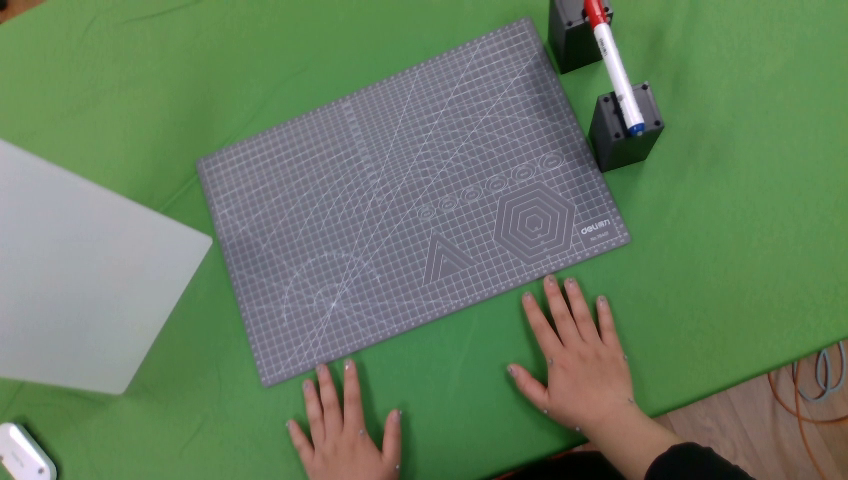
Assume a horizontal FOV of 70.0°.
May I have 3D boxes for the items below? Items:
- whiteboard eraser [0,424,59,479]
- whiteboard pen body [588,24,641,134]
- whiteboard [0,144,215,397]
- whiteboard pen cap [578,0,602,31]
[{"bbox_3d":[-0.481,0.262,0.726,0.101,0.019,0.041,40,87,13],"label":"whiteboard eraser"},{"bbox_3d":[0.182,-0.168,0.593,0.017,0.017,0.140,-18,77,6],"label":"whiteboard pen body"},{"bbox_3d":[-0.428,0.020,0.648,0.142,0.308,0.217,27,85,33],"label":"whiteboard"},{"bbox_3d":[0.166,-0.225,0.605,0.017,0.017,0.032,-15,78,7],"label":"whiteboard pen cap"}]
